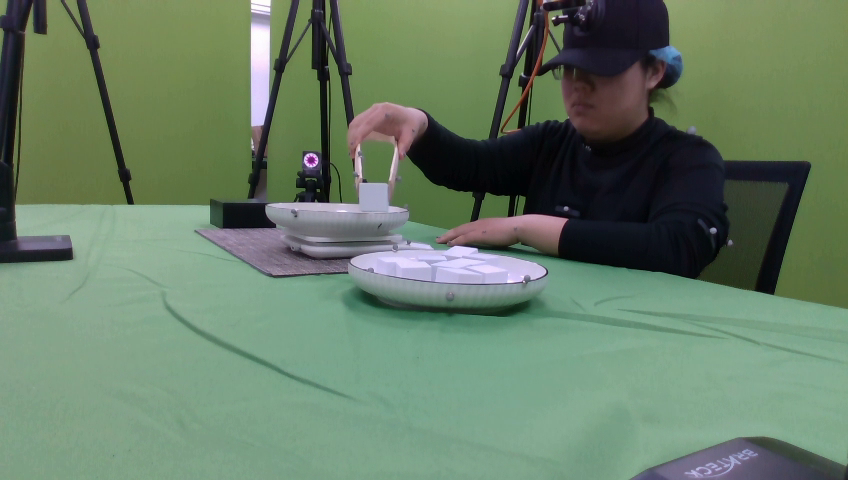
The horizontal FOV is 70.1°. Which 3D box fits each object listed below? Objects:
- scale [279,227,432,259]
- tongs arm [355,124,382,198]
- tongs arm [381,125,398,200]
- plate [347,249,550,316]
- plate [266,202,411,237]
[{"bbox_3d":[-0.100,0.001,0.899,0.202,0.031,0.148,-1,9,-31],"label":"scale"},{"bbox_3d":[-0.074,-0.123,0.860,0.051,0.026,0.384,2,20,-8],"label":"tongs arm"},{"bbox_3d":[-0.050,-0.121,0.862,0.028,0.028,0.387,0,20,-3],"label":"tongs arm"},{"bbox_3d":[0.025,0.042,0.627,0.209,0.038,0.209,2,7,0],"label":"plate"},{"bbox_3d":[-0.123,-0.030,0.879,0.208,0.039,0.207,2,6,0],"label":"plate"}]
